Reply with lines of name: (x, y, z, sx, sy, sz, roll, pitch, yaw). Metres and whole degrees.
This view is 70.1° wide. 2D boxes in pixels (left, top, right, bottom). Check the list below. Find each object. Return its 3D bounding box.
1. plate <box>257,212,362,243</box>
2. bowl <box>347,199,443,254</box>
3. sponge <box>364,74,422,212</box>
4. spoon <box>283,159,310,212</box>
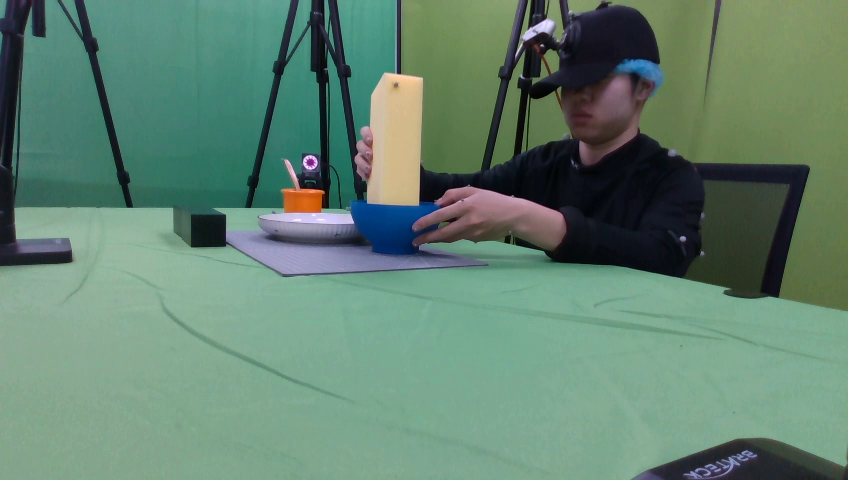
plate: (-0.189, -0.023, 1.072, 0.209, 0.038, 0.209, 3, 7, 0)
bowl: (-0.046, -0.021, 0.948, 0.151, 0.077, 0.151, 2, 6, 0)
sponge: (-0.051, -0.137, 0.941, 0.061, 0.206, 0.118, 3, -2, -15)
spoon: (-0.279, -0.111, 1.323, 0.042, 0.193, 0.021, 2, -39, -35)
